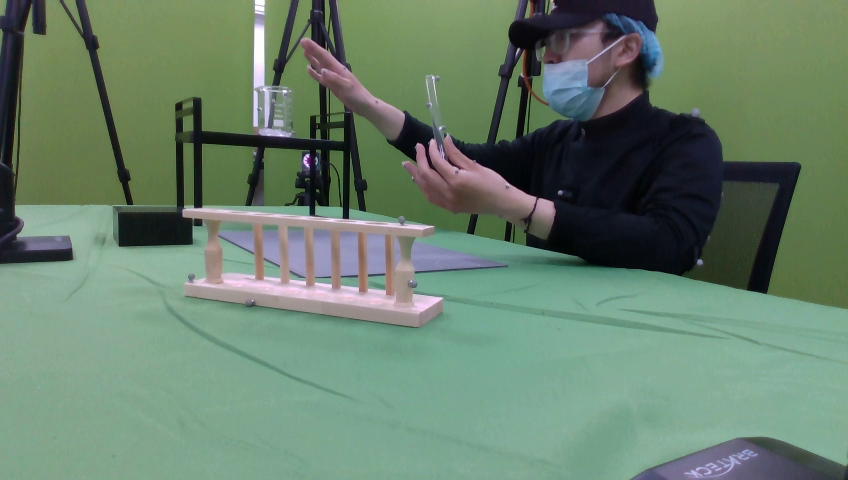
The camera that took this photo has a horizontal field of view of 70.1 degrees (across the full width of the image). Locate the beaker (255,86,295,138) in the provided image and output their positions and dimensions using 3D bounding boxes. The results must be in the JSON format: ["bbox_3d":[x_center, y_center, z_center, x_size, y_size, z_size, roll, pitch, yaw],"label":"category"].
[{"bbox_3d":[-0.309,-0.263,1.251,0.084,0.100,0.073,-4,9,-38],"label":"beaker"}]

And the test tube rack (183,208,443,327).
[{"bbox_3d":[-0.106,0.019,0.570,0.241,0.085,0.067,5,8,19],"label":"test tube rack"}]

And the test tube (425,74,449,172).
[{"bbox_3d":[0.019,-0.174,0.901,0.017,0.150,0.017,-9,-4,0],"label":"test tube"}]
